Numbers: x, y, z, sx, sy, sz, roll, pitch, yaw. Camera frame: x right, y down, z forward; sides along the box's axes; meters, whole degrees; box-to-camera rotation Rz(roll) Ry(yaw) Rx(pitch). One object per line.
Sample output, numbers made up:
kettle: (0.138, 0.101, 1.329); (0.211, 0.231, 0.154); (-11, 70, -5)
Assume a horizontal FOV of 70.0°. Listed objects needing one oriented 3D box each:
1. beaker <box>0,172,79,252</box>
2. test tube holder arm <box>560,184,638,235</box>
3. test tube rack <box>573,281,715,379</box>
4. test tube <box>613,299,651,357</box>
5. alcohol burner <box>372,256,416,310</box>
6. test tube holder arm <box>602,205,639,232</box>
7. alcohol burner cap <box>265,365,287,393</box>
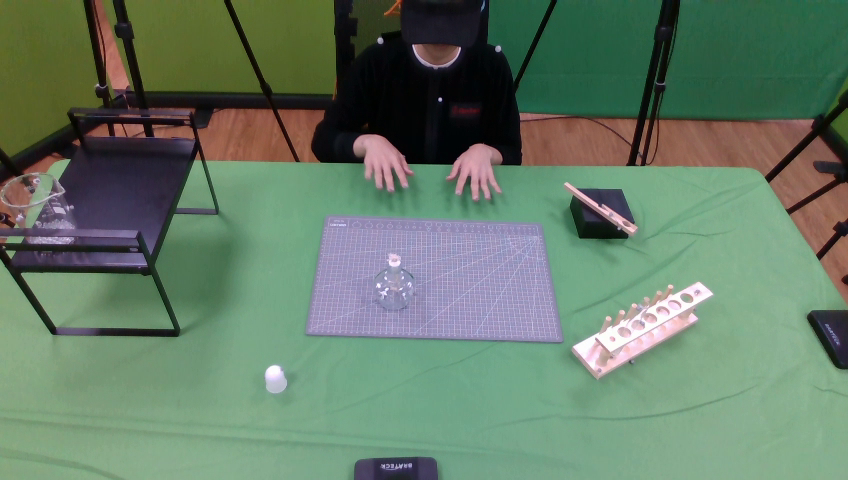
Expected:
beaker: (-0.557, -0.038, 0.889); (0.084, 0.101, 0.073); (-3, 47, -8)
test tube holder arm: (0.348, -0.063, 1.213); (0.177, 0.015, 0.013); (36, 52, 26)
test tube rack: (0.378, 0.140, 1.038); (0.242, 0.085, 0.066); (-22, 51, -23)
test tube: (0.328, 0.143, 0.962); (0.017, 0.151, 0.017); (3, 48, -3)
alcohol burner: (-0.052, 0.068, 1.057); (0.078, 0.120, 0.077); (1, 48, -1)
test tube holder arm: (0.384, -0.041, 1.196); (0.010, 0.015, 0.087); (-30, 56, -32)
alcohol burner cap: (-0.236, 0.216, 0.956); (0.034, 0.048, 0.033); (3, 46, -3)
